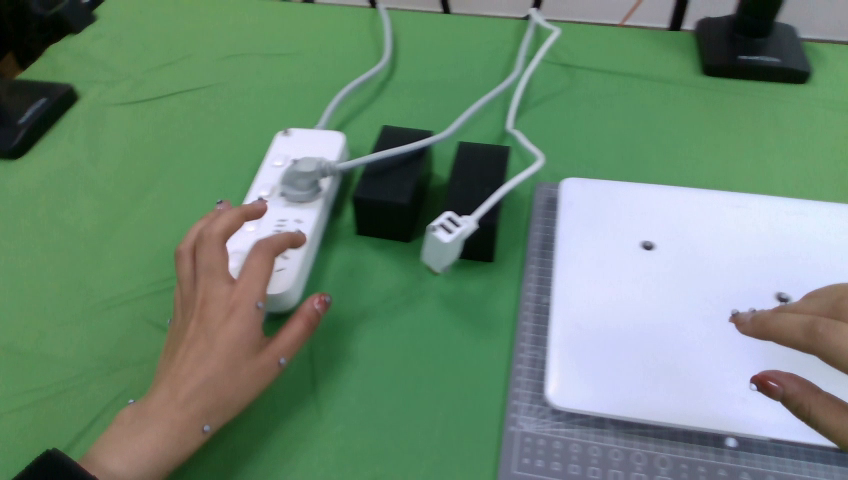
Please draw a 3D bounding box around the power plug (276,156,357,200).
[{"bbox_3d":[-0.097,-0.047,0.539,0.072,0.053,0.035,13,50,13],"label":"power plug"}]

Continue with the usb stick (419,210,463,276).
[{"bbox_3d":[0.012,0.006,0.478,0.021,0.059,0.027,36,56,17],"label":"usb stick"}]

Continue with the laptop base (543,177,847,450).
[{"bbox_3d":[0.277,0.053,0.481,0.354,0.023,0.233,7,52,7],"label":"laptop base"}]

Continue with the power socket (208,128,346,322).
[{"bbox_3d":[-0.127,-0.026,0.553,0.072,0.033,0.224,6,48,5],"label":"power socket"}]

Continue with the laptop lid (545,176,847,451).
[{"bbox_3d":[0.276,0.047,0.471,0.356,0.013,0.239,8,51,9],"label":"laptop lid"}]
